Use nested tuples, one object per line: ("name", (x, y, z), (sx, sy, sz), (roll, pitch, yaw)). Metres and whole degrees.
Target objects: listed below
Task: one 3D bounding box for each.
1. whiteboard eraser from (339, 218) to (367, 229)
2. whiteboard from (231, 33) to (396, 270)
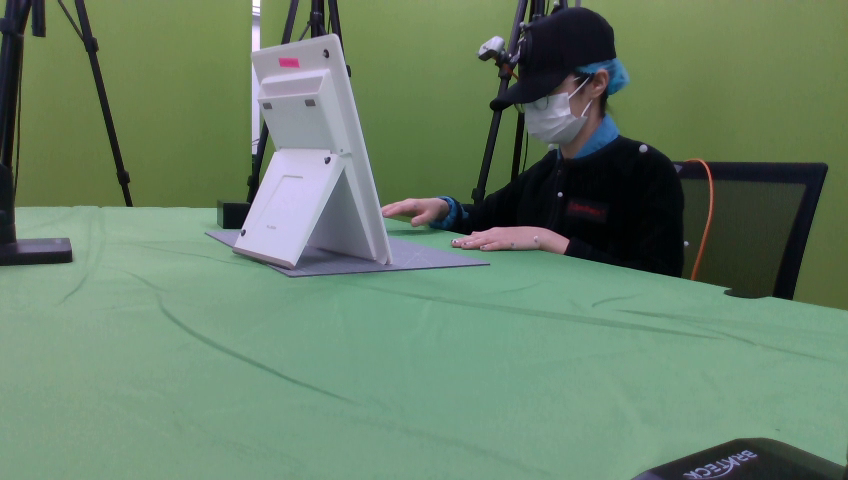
("whiteboard eraser", (-0.146, -0.035, 1.246), (0.041, 0.019, 0.101), (2, 5, 9))
("whiteboard", (-0.193, -0.094, 0.805), (0.144, 0.305, 0.216), (-29, 25, -35))
